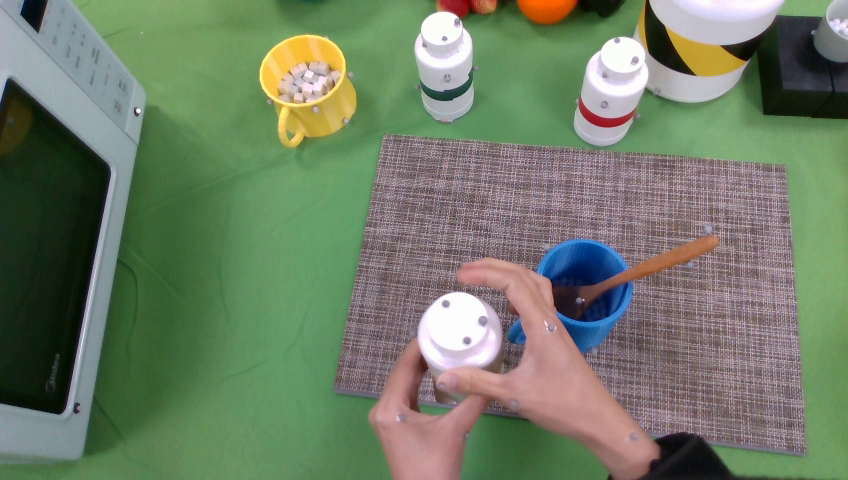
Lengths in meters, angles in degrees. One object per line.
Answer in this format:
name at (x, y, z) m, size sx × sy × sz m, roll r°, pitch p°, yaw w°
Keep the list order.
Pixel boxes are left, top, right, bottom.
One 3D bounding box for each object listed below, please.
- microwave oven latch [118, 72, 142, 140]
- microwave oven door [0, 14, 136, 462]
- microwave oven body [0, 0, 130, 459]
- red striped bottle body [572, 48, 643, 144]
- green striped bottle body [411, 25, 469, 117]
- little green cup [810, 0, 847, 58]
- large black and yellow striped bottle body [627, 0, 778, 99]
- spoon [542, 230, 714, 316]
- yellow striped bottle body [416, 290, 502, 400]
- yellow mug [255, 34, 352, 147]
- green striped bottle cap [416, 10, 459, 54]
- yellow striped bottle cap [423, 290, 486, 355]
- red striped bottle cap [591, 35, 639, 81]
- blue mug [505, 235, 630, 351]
microwave oven latch at (-0.358, -0.159, 0.720) m, size 0.030 × 0.030 × 0.078 m, roll -1°, pitch 69°, yaw 4°
microwave oven door at (-0.363, 0.006, 0.545) m, size 0.039 × 0.245 × 0.353 m, roll -3°, pitch 68°, yaw 4°
microwave oven body at (-0.509, -0.023, 0.575) m, size 0.326 × 0.262 × 0.438 m, roll -3°, pitch 69°, yaw 3°
red striped bottle body at (0.195, -0.160, 0.648) m, size 0.063 × 0.120 × 0.062 m, roll -3°, pitch 66°, yaw 7°
green striped bottle body at (0.019, -0.197, 0.678) m, size 0.063 × 0.120 × 0.062 m, roll -1°, pitch 68°, yaw 4°
little green cup at (0.445, -0.225, 0.641) m, size 0.061 × 0.039 × 0.061 m, roll -1°, pitch 66°, yaw 2°
large black and yellow striped bottle body at (0.296, -0.253, 0.641) m, size 0.131 × 0.185 × 0.130 m, roll -2°, pitch 68°, yaw 5°
spoon at (0.165, 0.034, 0.530) m, size 0.022 × 0.194 × 0.041 m, roll 7°, pitch 64°, yaw -31°
yellow striped bottle body at (0.029, 0.080, 0.471) m, size 0.063 × 0.121 × 0.062 m, roll -3°, pitch 62°, yaw 6°
yellow mug at (-0.145, -0.169, 0.710) m, size 0.099 × 0.064 × 0.130 m, roll 15°, pitch 71°, yaw 11°
green striped bottle cap at (0.014, -0.216, 0.630) m, size 0.044 × 0.020 × 0.044 m, roll -1°, pitch 68°, yaw 4°
yellow striped bottle cap at (0.022, 0.057, 0.425) m, size 0.044 × 0.019 × 0.044 m, roll -2°, pitch 62°, yaw 4°
red striped bottle cap at (0.190, -0.181, 0.600) m, size 0.044 × 0.018 × 0.044 m, roll 0°, pitch 67°, yaw 1°
blue mug at (0.127, 0.061, 0.570) m, size 0.116 × 0.106 × 0.081 m, roll -29°, pitch 68°, yaw -7°
